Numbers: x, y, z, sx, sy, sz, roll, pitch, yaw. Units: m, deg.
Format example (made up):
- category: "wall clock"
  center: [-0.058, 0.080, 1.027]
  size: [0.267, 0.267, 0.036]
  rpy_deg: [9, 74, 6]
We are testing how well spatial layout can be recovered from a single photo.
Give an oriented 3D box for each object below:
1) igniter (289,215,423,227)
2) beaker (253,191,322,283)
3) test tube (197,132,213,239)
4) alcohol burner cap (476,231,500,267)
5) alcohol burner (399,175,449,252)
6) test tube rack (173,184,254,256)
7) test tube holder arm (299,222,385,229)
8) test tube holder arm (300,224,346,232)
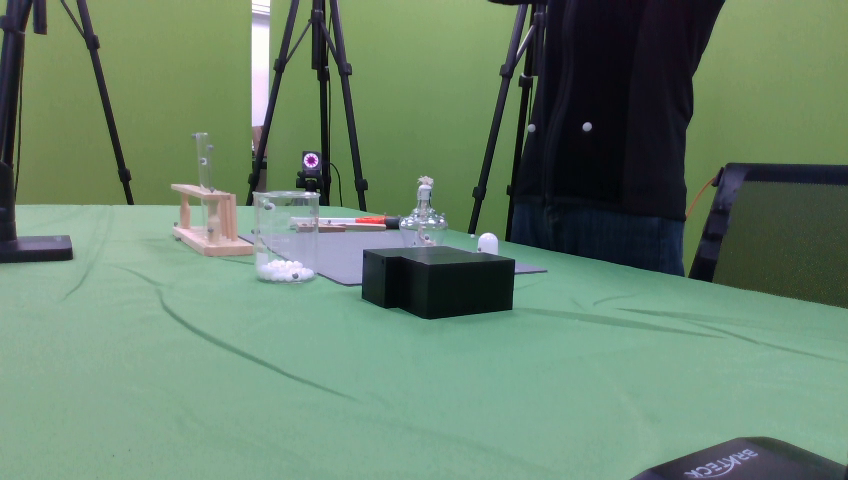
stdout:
- category: "igniter"
  center: [-0.133, -0.038, 1.232]
  size: [0.278, 0.025, 0.057]
  rpy_deg: [-1, -2, -26]
- category: "beaker"
  center: [-0.158, -0.005, 0.686]
  size: [0.083, 0.100, 0.074]
  rpy_deg: [5, 7, 23]
- category: "test tube"
  center: [-0.305, -0.075, 0.849]
  size: [0.017, 0.150, 0.017]
  rpy_deg: [-1, 10, 0]
- category: "alcohol burner cap"
  center: [0.088, 0.012, 0.830]
  size: [0.034, 0.048, 0.034]
  rpy_deg: [2, 7, 0]
- category: "alcohol burner"
  center: [0.000, -0.041, 0.937]
  size: [0.078, 0.119, 0.078]
  rpy_deg: [0, 7, 0]
- category: "test tube rack"
  center: [-0.328, -0.036, 0.927]
  size: [0.067, 0.085, 0.241]
  rpy_deg: [-2, 9, -32]
- category: "test tube holder arm"
  center: [-0.154, -0.027, 1.166]
  size: [0.179, 0.015, 0.013]
  rpy_deg: [-2, 43, -35]
- category: "test tube holder arm"
  center: [-0.189, -0.022, 1.137]
  size: [0.088, 0.015, 0.010]
  rpy_deg: [-2, 43, -35]
